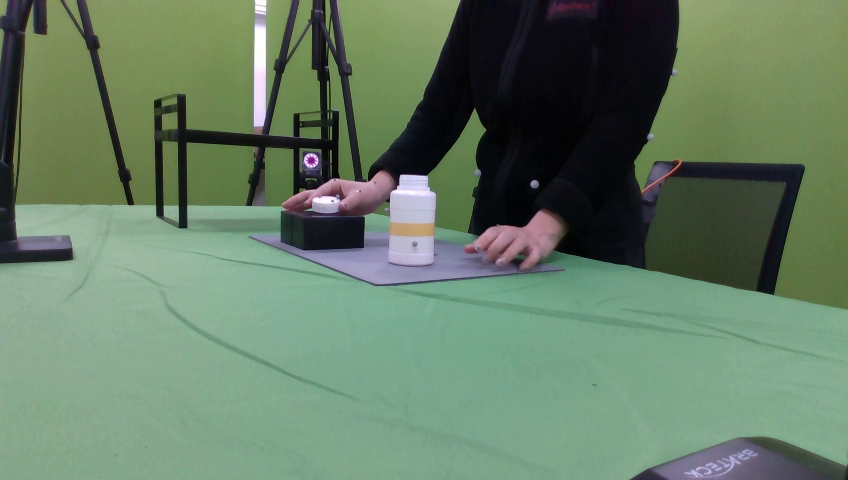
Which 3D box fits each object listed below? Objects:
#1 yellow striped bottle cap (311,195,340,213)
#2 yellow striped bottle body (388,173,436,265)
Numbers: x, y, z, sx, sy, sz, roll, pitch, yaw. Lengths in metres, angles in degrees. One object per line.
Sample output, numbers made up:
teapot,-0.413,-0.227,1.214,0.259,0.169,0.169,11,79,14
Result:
yellow striped bottle cap,-0.155,-0.057,0.953,0.044,0.018,0.044,2,20,-1
yellow striped bottle body,-0.016,-0.030,0.813,0.063,0.120,0.063,2,7,0
